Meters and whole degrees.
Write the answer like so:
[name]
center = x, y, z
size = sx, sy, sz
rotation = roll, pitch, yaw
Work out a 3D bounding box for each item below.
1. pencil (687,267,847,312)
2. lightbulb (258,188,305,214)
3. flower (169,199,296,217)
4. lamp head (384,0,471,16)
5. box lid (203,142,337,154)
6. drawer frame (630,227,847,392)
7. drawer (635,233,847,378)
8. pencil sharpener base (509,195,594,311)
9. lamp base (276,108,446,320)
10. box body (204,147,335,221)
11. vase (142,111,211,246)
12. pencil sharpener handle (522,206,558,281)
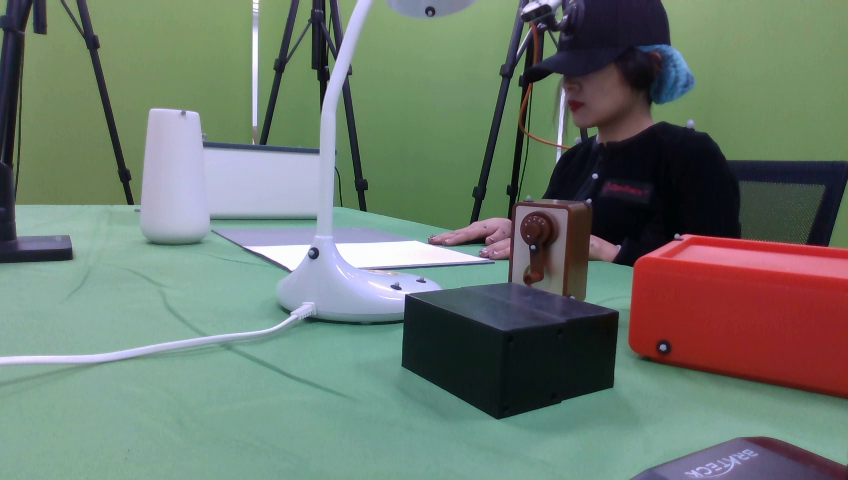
[pencil]
center = 0.308, 0.044, 0.515
size = 0.194, 0.012, 0.012
rotation = 13, 5, -12
[lightbulb]
center = -0.325, -0.082, 1.382
size = 0.108, 0.059, 0.059
rotation = -15, 9, -6
[flower]
center = -0.423, -0.069, 1.398
size = 0.044, 0.038, 0.363
rotation = 2, 2, 31
[lamp head]
center = -0.001, -0.301, 0.599
size = 0.112, 0.112, 0.123
rotation = 4, -30, 14
[box lid]
center = -0.405, -0.209, 1.377
size = 0.373, 0.015, 0.262
rotation = -1, 9, -29
[drawer frame]
center = 0.292, 0.043, 0.484
size = 0.201, 0.082, 0.214
rotation = 7, 9, 29
[drawer]
center = 0.292, 0.045, 0.488
size = 0.193, 0.073, 0.213
rotation = 7, 9, 30
[pencil sharpener base]
center = 0.126, 0.011, 0.601
size = 0.061, 0.107, 0.077
rotation = 6, 9, 30
[lamp base]
center = -0.061, -0.027, 0.556
size = 0.160, 0.180, 0.180
rotation = 4, 10, 20
[box body]
center = -0.411, -0.135, 1.386
size = 0.366, 0.160, 0.253
rotation = -2, 9, -29
[vase]
center = -0.378, -0.093, 0.920
size = 0.098, 0.200, 0.098
rotation = 2, 9, 0
[pencil sharpener handle]
center = 0.102, 0.003, 0.555
size = 0.036, 0.067, 0.031
rotation = 0, 5, 31
